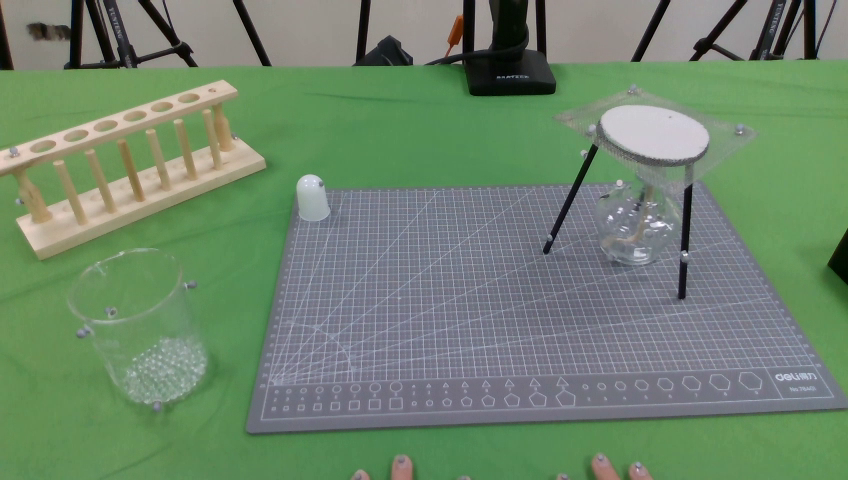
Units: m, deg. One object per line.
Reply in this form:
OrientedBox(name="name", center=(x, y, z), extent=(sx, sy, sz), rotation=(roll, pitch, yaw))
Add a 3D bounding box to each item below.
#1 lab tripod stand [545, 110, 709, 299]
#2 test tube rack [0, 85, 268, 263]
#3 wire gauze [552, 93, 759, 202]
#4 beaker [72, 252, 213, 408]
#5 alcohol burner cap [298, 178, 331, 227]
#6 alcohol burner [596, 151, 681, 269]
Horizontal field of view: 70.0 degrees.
OrientedBox(name="lab tripod stand", center=(0.192, -0.035, 0.541), extent=(0.148, 0.132, 0.147), rotation=(2, 40, -1))
OrientedBox(name="test tube rack", center=(-0.291, -0.076, 0.627), extent=(0.242, 0.086, 0.066), rotation=(-29, 48, -30))
OrientedBox(name="wire gauze", center=(0.188, -0.086, 0.496), extent=(0.121, 0.011, 0.124), rotation=(-26, 49, -29))
OrientedBox(name="beaker", center=(-0.203, 0.068, 0.447), extent=(0.083, 0.101, 0.074), rotation=(27, 47, 29))
OrientedBox(name="alcohol burner cap", center=(-0.113, -0.041, 0.617), extent=(0.034, 0.048, 0.033), rotation=(1, 41, 0))
OrientedBox(name="alcohol burner", center=(0.200, -0.031, 0.552), extent=(0.078, 0.120, 0.077), rotation=(1, 42, 0))
